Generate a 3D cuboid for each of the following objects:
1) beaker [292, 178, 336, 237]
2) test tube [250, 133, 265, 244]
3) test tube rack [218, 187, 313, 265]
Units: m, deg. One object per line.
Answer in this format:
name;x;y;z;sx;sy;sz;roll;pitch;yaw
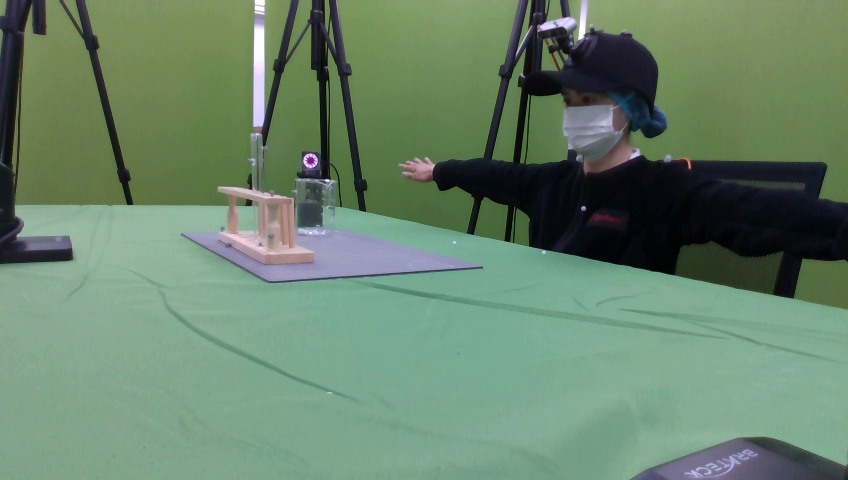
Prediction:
beaker;-0.195;-0.058;1.080;0.074;0.100;0.083;-4;11;-40
test tube;-0.227;-0.070;0.825;0.017;0.150;0.017;-1;3;0
test tube rack;-0.235;-0.027;0.872;0.067;0.085;0.241;-2;8;-32
